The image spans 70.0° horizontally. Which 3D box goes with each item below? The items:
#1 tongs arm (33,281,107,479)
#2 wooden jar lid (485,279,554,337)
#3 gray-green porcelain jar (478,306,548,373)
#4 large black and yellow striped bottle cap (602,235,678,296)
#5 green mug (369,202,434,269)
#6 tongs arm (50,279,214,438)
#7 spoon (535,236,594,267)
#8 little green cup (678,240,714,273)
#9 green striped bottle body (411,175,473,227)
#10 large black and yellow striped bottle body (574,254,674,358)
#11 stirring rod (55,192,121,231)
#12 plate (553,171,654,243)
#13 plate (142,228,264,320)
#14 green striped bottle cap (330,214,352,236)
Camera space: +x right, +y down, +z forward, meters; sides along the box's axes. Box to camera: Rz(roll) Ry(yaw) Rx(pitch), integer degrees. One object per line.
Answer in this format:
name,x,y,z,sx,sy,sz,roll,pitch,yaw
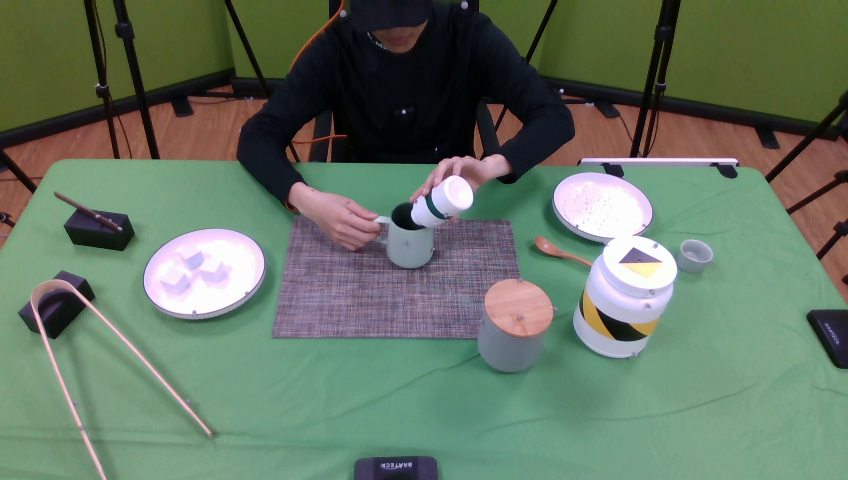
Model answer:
tongs arm,-0.517,0.214,0.910,0.051,0.026,0.383,-28,63,-27
wooden jar lid,0.147,0.108,0.940,0.108,0.021,0.107,4,47,-4
gray-green porcelain jar,0.144,0.148,0.989,0.106,0.127,0.105,2,50,-2
large black and yellow striped bottle cap,0.340,0.037,0.955,0.115,0.019,0.114,2,47,-2
green mug,-0.043,-0.010,1.140,0.125,0.105,0.092,7,46,3
tongs arm,-0.459,0.178,0.949,0.386,0.028,0.028,37,60,17
spoon,0.303,0.040,1.178,0.193,0.022,0.041,25,30,19
little green cup,0.530,0.033,1.190,0.061,0.039,0.061,2,46,-1
green striped bottle body,0.026,-0.063,1.053,0.063,0.119,0.063,16,62,-32
large black and yellow striped bottle body,0.335,0.096,1.014,0.131,0.185,0.130,2,46,-2
stirring rod,-0.632,-0.055,1.138,0.175,0.014,0.006,24,50,19
plate,0.373,-0.066,1.275,0.209,0.038,0.208,2,46,-2
plate,-0.394,0.064,1.095,0.208,0.039,0.206,2,46,-2
green striped bottle cap,-0.167,-0.030,1.214,0.044,0.020,0.044,1,51,-1
